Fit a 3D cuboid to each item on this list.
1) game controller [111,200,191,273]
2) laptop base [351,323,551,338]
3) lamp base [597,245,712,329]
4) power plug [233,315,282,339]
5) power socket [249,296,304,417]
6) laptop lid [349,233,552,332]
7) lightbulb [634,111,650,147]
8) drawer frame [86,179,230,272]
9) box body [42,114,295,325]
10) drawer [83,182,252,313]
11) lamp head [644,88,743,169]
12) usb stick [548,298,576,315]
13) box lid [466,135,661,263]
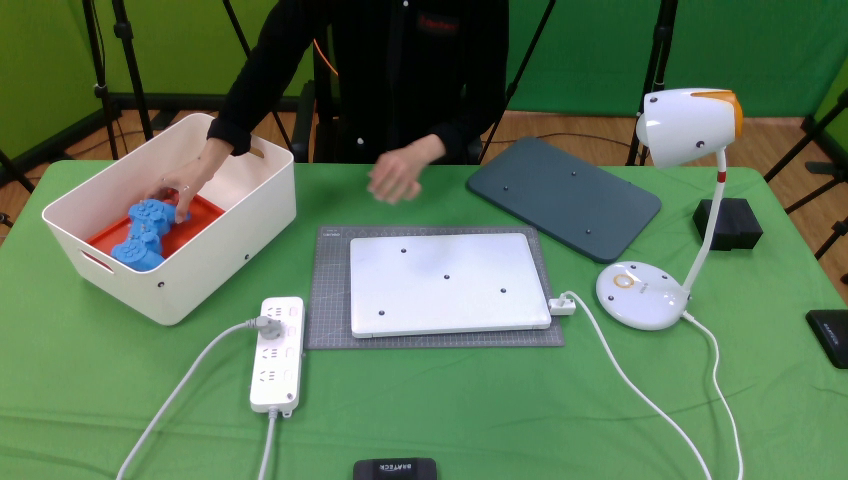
[{"bbox_3d":[-0.468,-0.008,1.039,0.097,0.052,0.154,4,49,-3],"label":"game controller"},{"bbox_3d":[0.040,0.081,1.125,0.355,0.023,0.234,-2,43,-6],"label":"laptop base"},{"bbox_3d":[0.418,0.051,1.072,0.179,0.181,0.160,22,49,13],"label":"lamp base"},{"bbox_3d":[-0.271,0.144,0.999,0.072,0.053,0.035,5,47,3],"label":"power plug"},{"bbox_3d":[-0.239,0.182,0.996,0.072,0.033,0.225,-2,47,-5],"label":"power socket"},{"bbox_3d":[0.040,0.071,1.118,0.357,0.013,0.240,-1,44,-5],"label":"laptop lid"},{"bbox_3d":[0.348,-0.163,0.852,0.059,0.060,0.107,-36,19,-32],"label":"lightbulb"},{"bbox_3d":[-0.453,0.010,1.100,0.201,0.083,0.213,28,55,23],"label":"drawer frame"},{"bbox_3d":[-0.437,-0.046,1.110,0.253,0.161,0.363,24,49,19],"label":"box body"},{"bbox_3d":[-0.459,0.008,1.099,0.194,0.073,0.211,30,49,22],"label":"drawer"},{"bbox_3d":[0.380,-0.161,0.851,0.122,0.113,0.112,-4,42,25],"label":"lamp head"},{"bbox_3d":[0.240,0.119,1.086,0.059,0.027,0.021,-2,51,-2],"label":"usb stick"},{"bbox_3d":[0.306,-0.102,1.327,0.370,0.015,0.263,32,52,25],"label":"box lid"}]
